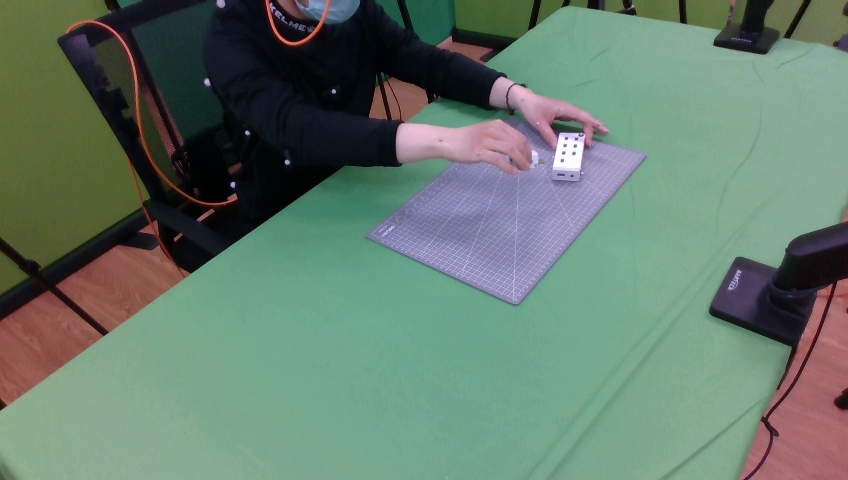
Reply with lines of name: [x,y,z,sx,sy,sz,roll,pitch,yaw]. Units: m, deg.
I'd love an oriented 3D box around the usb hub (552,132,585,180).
usb hub: [0.266,-0.154,1.104,0.049,0.025,0.125,6,43,15]

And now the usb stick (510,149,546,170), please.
usb stick: [0.173,-0.133,0.996,0.059,0.027,0.021,-8,26,-12]
